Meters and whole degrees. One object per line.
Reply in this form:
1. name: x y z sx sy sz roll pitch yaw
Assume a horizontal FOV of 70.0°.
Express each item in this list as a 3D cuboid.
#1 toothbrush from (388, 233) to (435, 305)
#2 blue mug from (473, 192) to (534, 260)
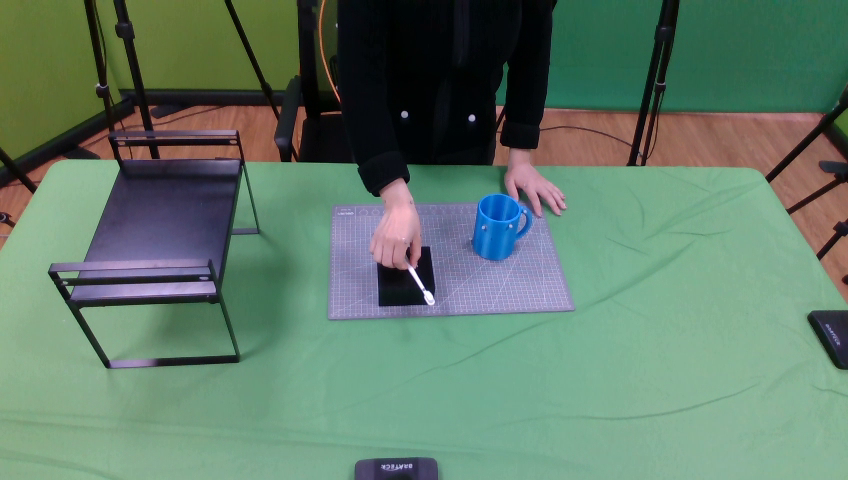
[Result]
1. toothbrush: -0.025 0.047 1.082 0.014 0.017 0.180 -29 52 -7
2. blue mug: 0.157 -0.029 1.173 0.117 0.106 0.082 -8 47 -11
